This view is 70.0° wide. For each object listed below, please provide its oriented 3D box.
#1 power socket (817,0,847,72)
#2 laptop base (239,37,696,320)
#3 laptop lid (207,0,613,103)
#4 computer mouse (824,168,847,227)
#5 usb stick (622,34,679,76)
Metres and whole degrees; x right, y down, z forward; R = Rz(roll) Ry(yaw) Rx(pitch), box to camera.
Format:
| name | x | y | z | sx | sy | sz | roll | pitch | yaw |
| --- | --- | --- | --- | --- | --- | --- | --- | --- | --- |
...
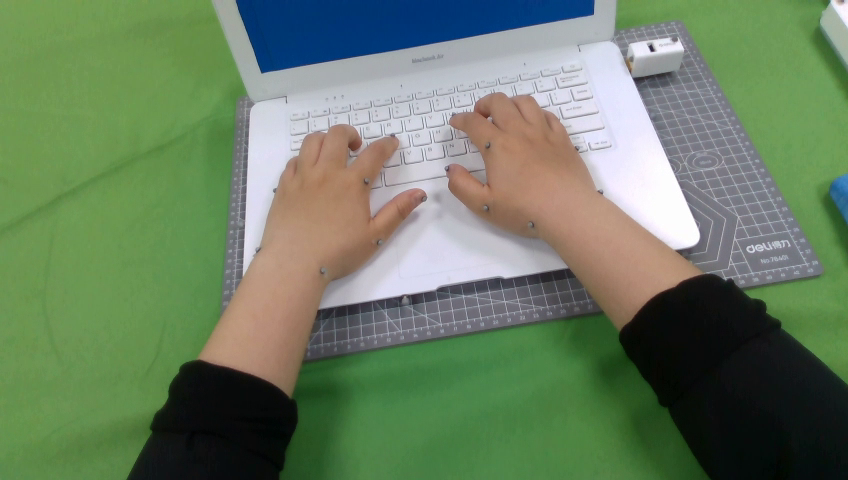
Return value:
| name | x | y | z | sx | sy | sz | roll | pitch | yaw |
| --- | --- | --- | --- | --- | --- | --- | --- | --- | --- |
| power socket | 0.409 | -0.139 | 0.509 | 0.072 | 0.033 | 0.224 | -6 | 56 | 4 |
| laptop base | 0.019 | -0.062 | 0.521 | 0.354 | 0.023 | 0.233 | -10 | 60 | 1 |
| laptop lid | -0.013 | -0.243 | 0.504 | 0.357 | 0.244 | 0.013 | -11 | 43 | 2 |
| computer mouse | 0.344 | -0.014 | 0.432 | 0.063 | 0.041 | 0.116 | -10 | 51 | 4 |
| usb stick | 0.197 | -0.167 | 0.550 | 0.059 | 0.027 | 0.021 | -10 | 56 | 5 |
